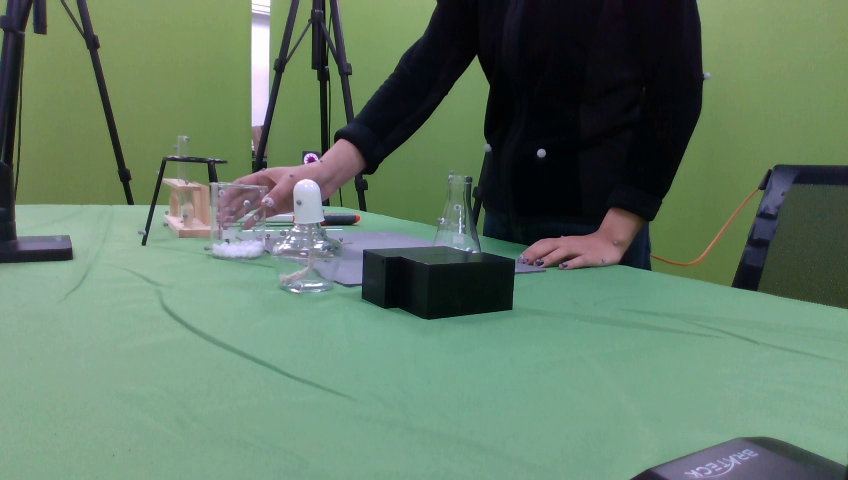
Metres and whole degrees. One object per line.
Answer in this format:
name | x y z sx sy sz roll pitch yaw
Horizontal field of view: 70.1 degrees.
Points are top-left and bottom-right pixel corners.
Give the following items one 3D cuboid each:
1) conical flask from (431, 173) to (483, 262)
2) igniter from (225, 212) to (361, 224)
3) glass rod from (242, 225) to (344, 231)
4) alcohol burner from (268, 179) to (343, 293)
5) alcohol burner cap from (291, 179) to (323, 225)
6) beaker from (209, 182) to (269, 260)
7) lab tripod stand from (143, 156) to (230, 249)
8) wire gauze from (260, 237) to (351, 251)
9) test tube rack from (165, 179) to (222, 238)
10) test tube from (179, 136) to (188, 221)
conical flask | 0.049 -0.033 0.857 0.075 0.122 0.075 2 7 0
igniter | -0.262 -0.044 1.240 0.278 0.025 0.057 -2 -1 -31
glass rod | -0.246 -0.024 1.154 0.201 0.008 0.008 -3 8 -31
alcohol burner | -0.124 -0.005 0.637 0.078 0.119 0.078 4 8 0
alcohol burner cap | -0.124 -0.040 0.632 0.034 0.048 0.034 -3 10 1
beaker | -0.248 -0.027 0.820 0.073 0.100 0.084 9 9 38
lab tripod stand | -0.339 -0.058 0.908 0.148 0.131 0.148 5 7 0
wire gauze | -0.185 0.004 0.938 0.122 0.011 0.124 -1 5 -24
test tube rack | -0.423 -0.062 1.098 0.067 0.085 0.241 -2 9 -28
test tube | -0.425 -0.108 1.070 0.017 0.150 0.017 4 9 0
